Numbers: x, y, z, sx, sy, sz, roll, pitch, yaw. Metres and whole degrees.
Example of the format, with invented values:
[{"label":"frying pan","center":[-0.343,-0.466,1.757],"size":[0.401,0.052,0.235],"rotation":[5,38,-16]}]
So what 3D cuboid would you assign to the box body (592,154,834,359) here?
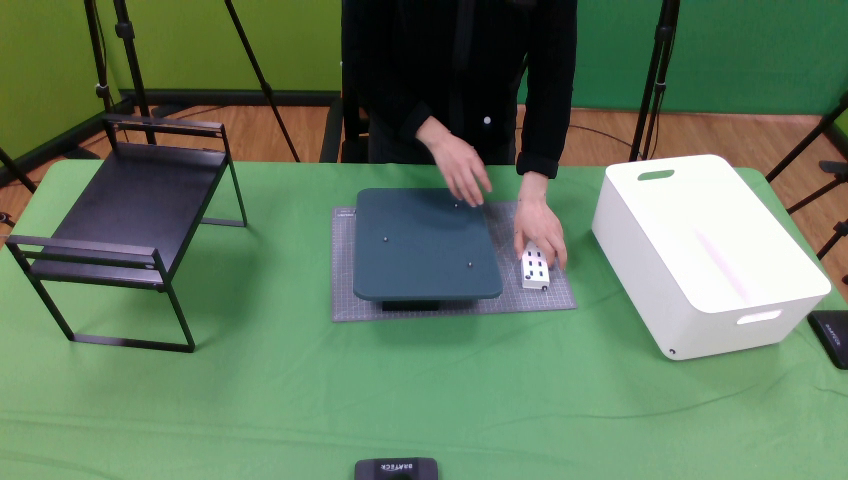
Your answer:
[{"label":"box body","center":[0.496,0.023,1.112],"size":[0.254,0.161,0.361],"rotation":[-8,47,-10]}]

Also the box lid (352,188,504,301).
[{"label":"box lid","center":[-0.003,-0.006,1.162],"size":[0.263,0.015,0.369],"rotation":[0,34,-5]}]

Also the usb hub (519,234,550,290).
[{"label":"usb hub","center":[0.212,0.040,1.168],"size":[0.049,0.025,0.124],"rotation":[4,45,0]}]
